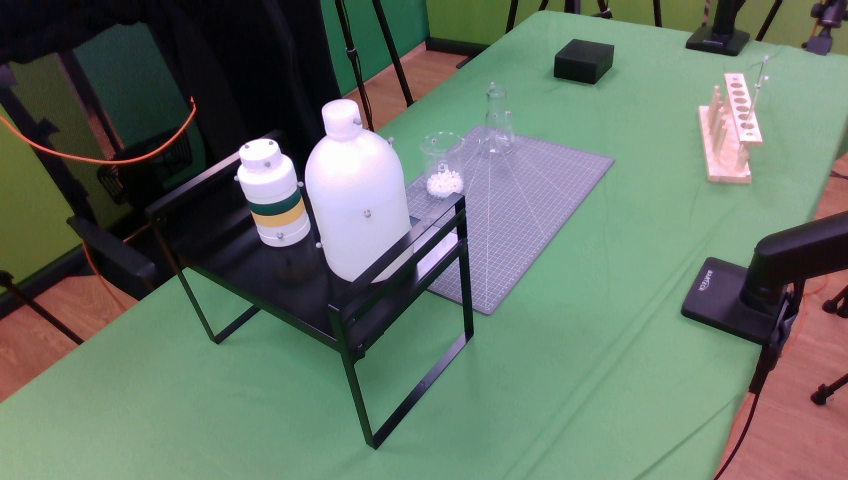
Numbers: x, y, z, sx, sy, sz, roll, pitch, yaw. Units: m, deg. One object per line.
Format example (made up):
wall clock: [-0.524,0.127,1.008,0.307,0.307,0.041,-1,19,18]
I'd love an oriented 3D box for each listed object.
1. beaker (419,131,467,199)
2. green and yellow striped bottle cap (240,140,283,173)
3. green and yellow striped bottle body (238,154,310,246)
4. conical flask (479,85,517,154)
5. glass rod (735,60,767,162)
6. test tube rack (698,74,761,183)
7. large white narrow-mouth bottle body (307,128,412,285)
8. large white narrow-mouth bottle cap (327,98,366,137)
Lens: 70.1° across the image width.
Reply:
beaker: [0.037,-0.130,1.060,0.084,0.100,0.073,-14,41,-9]
green and yellow striped bottle cap: [-0.183,-0.094,0.679,0.045,0.020,0.045,-4,38,4]
green and yellow striped bottle body: [-0.178,-0.056,0.714,0.063,0.120,0.063,-4,40,4]
conical flask: [0.139,-0.231,1.145,0.075,0.122,0.075,-4,41,4]
glass rod: [0.534,-0.204,0.989,0.008,0.201,0.008,-6,46,6]
test tube rack: [0.547,-0.208,1.095,0.066,0.085,0.242,5,42,15]
large white narrow-mouth bottle body: [-0.070,-0.051,0.638,0.102,0.195,0.101,-3,40,3]
large white narrow-mouth bottle cap: [-0.075,-0.118,0.582,0.038,0.024,0.037,-3,40,3]
